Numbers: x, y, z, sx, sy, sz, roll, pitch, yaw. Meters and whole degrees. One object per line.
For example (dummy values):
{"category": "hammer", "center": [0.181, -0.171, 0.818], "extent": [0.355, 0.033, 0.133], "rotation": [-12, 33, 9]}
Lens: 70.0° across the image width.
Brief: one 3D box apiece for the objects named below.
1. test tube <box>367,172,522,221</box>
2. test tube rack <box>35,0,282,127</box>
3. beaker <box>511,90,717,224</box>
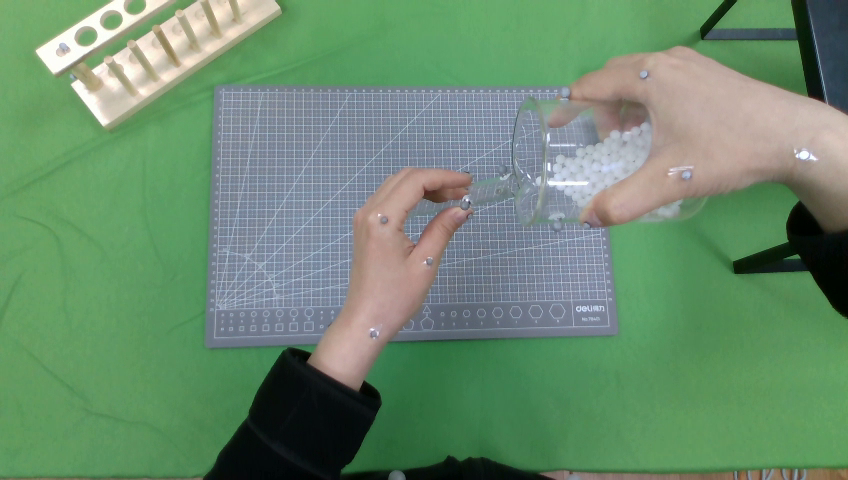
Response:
{"category": "test tube", "center": [0.008, -0.029, 0.440], "extent": [0.017, 0.149, 0.017], "rotation": [7, 80, -43]}
{"category": "test tube rack", "center": [-0.281, -0.234, 0.667], "extent": [0.242, 0.085, 0.066], "rotation": [-38, 83, -11]}
{"category": "beaker", "center": [0.106, -0.045, 0.354], "extent": [0.100, 0.084, 0.073], "rotation": [0, 76, -4]}
